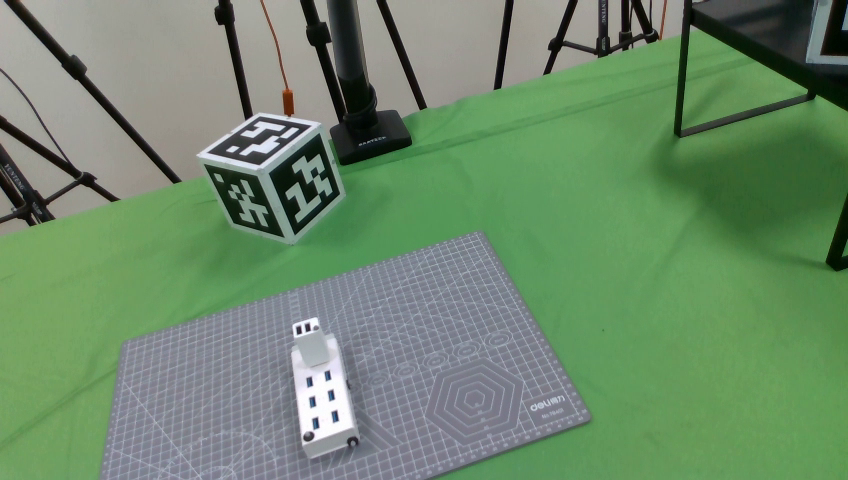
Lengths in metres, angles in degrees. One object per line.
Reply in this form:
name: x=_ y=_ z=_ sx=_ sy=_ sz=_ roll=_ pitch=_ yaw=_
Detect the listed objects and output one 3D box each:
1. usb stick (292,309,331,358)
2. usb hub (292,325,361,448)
usb stick: x=-0.109 y=0.098 z=0.600 sx=0.027 sy=0.060 sz=0.021 roll=-21 pitch=42 yaw=-7
usb hub: x=-0.099 y=0.139 z=0.594 sx=0.049 sy=0.025 sz=0.123 roll=-18 pitch=39 yaw=-5
